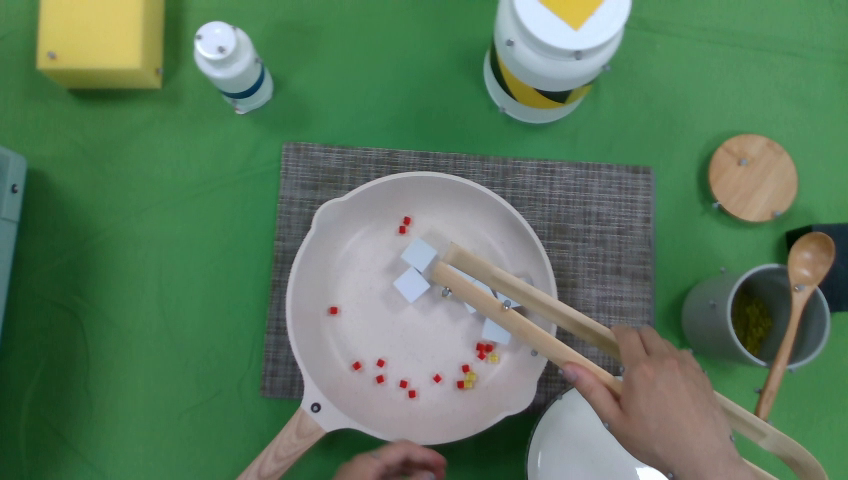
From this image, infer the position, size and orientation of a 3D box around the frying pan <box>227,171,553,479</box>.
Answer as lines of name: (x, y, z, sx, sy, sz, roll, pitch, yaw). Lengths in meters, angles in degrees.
frying pan: (-0.079, 0.142, 0.649, 0.306, 0.103, 0.487, 45, 75, 5)

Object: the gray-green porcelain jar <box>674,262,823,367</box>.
gray-green porcelain jar: (0.343, 0.083, 0.661, 0.106, 0.127, 0.105, 0, 82, -1)

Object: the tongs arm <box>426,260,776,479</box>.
tongs arm: (0.172, 0.122, 0.531, 0.383, 0.050, 0.026, 34, 127, 9)

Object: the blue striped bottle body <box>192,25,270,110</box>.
blue striped bottle body: (-0.218, -0.197, 0.684, 0.063, 0.121, 0.063, 0, 82, -1)

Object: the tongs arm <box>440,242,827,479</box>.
tongs arm: (0.182, 0.111, 0.550, 0.387, 0.028, 0.028, 32, 123, 6)

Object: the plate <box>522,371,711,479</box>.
plate: (0.211, 0.250, 0.678, 0.208, 0.039, 0.207, 0, 84, -2)

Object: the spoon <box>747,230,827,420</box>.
spoon: (0.349, 0.083, 0.591, 0.041, 0.021, 0.193, 20, 86, -2)

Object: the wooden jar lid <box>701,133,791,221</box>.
wooden jar lid: (0.389, -0.075, 0.737, 0.108, 0.021, 0.108, 0, 84, -1)

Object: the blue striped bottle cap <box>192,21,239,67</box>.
blue striped bottle cap: (-0.218, -0.206, 0.634, 0.044, 0.020, 0.044, 0, 84, -2)

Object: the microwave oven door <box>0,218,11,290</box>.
microwave oven door: (-0.496, 0.134, 0.553, 0.039, 0.244, 0.354, 4, 82, -1)

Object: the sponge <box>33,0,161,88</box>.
sponge: (-0.384, -0.291, 0.721, 0.118, 0.061, 0.206, -1, 83, -2)

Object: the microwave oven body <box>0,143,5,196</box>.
microwave oven body: (-0.638, 0.082, 0.561, 0.326, 0.260, 0.440, 4, 83, -1)

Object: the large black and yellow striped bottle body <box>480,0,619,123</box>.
large black and yellow striped bottle body: (0.135, -0.220, 0.667, 0.131, 0.184, 0.130, 0, 81, -1)

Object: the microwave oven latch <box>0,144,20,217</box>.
microwave oven latch: (-0.480, -0.068, 0.682, 0.030, 0.029, 0.079, 7, 83, -1)

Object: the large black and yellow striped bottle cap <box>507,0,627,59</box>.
large black and yellow striped bottle cap: (0.138, -0.233, 0.584, 0.115, 0.019, 0.114, 0, 84, -1)
